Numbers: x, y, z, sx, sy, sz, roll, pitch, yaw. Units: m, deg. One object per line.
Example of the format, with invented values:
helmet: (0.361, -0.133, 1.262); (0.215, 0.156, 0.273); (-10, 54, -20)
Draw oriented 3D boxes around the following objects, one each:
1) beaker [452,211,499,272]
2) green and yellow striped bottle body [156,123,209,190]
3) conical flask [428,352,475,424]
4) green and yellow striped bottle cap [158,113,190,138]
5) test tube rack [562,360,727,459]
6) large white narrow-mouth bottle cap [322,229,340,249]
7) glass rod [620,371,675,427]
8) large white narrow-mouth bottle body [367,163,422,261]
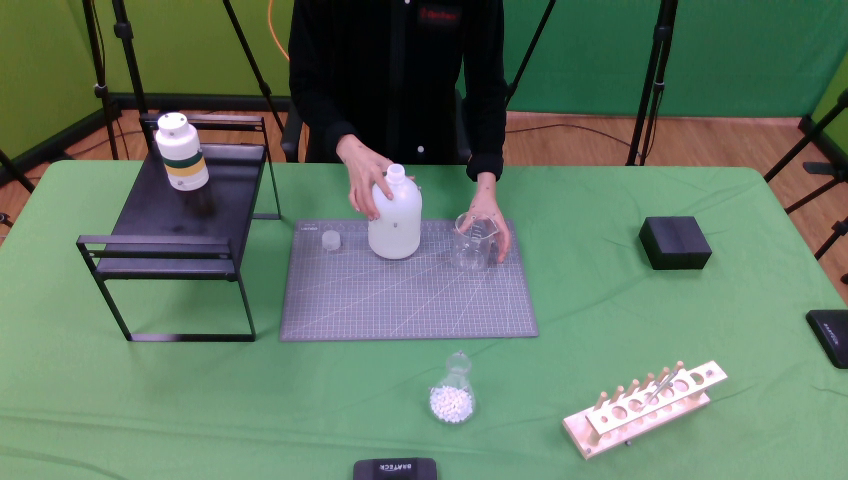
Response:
beaker: (0.093, 0.006, 1.142); (0.084, 0.101, 0.073); (8, 46, 3)
green and yellow striped bottle body: (-0.395, -0.145, 0.989); (0.063, 0.120, 0.063); (2, 46, -2)
conical flask: (0.046, 0.220, 0.920); (0.075, 0.122, 0.075); (2, 46, -2)
green and yellow striped bottle cap: (-0.393, -0.180, 0.951); (0.045, 0.020, 0.045); (2, 44, -2)
test tube rack: (0.341, 0.247, 0.940); (0.243, 0.085, 0.066); (-16, 49, -18)
large white narrow-mouth bottle cap: (-0.182, -0.003, 1.184); (0.038, 0.024, 0.037); (3, 45, -3)
glass rod: (0.316, 0.230, 0.863); (0.008, 0.200, 0.008); (3, 54, -3)
large white narrow-mouth bottle body: (-0.054, -0.058, 1.128); (0.102, 0.195, 0.101); (3, 44, -3)
